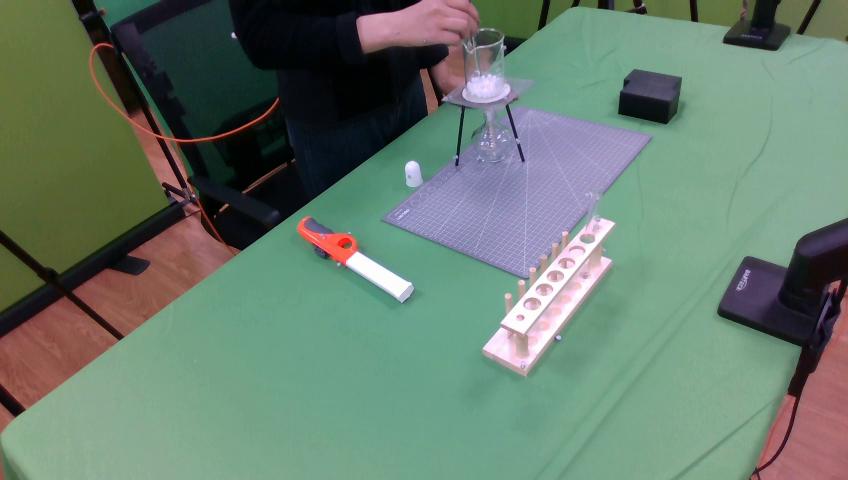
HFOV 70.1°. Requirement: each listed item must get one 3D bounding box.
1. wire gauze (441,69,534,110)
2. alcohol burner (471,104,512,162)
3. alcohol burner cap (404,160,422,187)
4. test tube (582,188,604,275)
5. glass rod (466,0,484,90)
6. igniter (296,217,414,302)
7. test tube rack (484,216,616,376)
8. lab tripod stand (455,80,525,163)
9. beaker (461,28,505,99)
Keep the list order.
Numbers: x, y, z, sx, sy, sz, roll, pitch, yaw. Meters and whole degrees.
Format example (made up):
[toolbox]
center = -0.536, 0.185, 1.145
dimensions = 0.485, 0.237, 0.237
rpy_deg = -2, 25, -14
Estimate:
[wire gauze]
center = 0.114, -0.268, 1.082
dimensions = 0.120, 0.011, 0.125
rpy_deg = 22, 47, 29
[alcohol burner]
center = 0.125, -0.207, 1.126
dimensions = 0.078, 0.119, 0.077
rpy_deg = -5, 43, 5
[alcohol burner cap]
center = -0.022, -0.125, 1.118
dimensions = 0.034, 0.048, 0.033
rpy_deg = -4, 41, 4
[test tube]
center = 0.228, -0.007, 0.821
dimensions = 0.017, 0.151, 0.017
rpy_deg = -3, 42, 3
[glass rod]
center = 0.084, -0.336, 1.005
dimensions = 0.008, 0.201, 0.008
rpy_deg = -8, 45, 8
[igniter]
center = -0.121, 0.025, 0.970
dimensions = 0.274, 0.025, 0.057
rpy_deg = 29, 63, 37
[test tube rack]
center = 0.174, 0.064, 0.823
dimensions = 0.066, 0.085, 0.243
rpy_deg = 23, 49, 33
[lab tripod stand]
center = 0.120, -0.219, 1.126
dimensions = 0.148, 0.132, 0.147
rpy_deg = -4, 40, 4
[beaker]
center = 0.103, -0.304, 1.051
dimensions = 0.073, 0.101, 0.084
rpy_deg = 19, 48, 29
